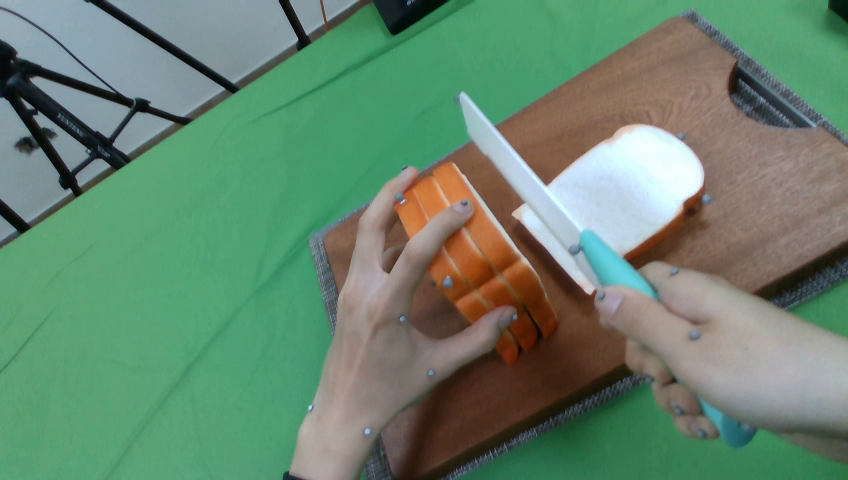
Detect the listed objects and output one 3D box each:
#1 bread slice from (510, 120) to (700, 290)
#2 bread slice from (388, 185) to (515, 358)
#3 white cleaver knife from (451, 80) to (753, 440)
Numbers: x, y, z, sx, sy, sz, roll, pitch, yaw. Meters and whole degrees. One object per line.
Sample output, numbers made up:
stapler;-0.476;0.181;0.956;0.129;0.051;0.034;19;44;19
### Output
bread slice;0.145;-0.033;0.470;0.131;0.019;0.103;-41;47;5
bread slice;0.019;0.017;0.439;0.018;0.136;0.105;-34;48;5
white cleaver knife;0.093;-0.005;0.374;0.021;0.066;0.283;-33;58;1
